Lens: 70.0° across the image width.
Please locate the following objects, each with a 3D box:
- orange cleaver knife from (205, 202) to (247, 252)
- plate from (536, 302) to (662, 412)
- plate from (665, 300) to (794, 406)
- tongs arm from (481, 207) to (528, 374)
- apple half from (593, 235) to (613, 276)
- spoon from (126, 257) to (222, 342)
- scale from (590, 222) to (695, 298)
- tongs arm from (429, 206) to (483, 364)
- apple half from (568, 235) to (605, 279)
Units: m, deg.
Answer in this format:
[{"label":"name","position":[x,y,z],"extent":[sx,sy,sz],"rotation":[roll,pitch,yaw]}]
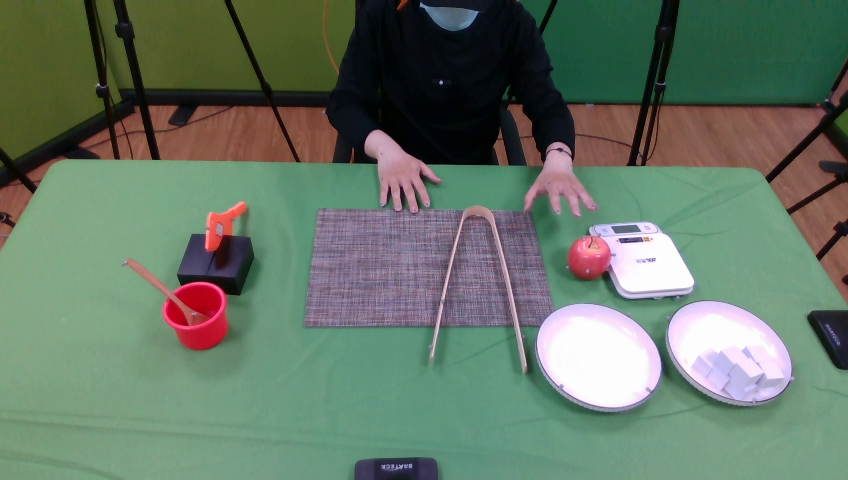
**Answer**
[{"label":"orange cleaver knife","position":[-0.374,-0.029,1.150],"extent":[0.012,0.077,0.211],"rotation":[4,13,0]},{"label":"plate","position":[0.288,0.197,1.016],"extent":[0.209,0.038,0.208],"rotation":[2,46,-2]},{"label":"plate","position":[0.513,0.194,1.034],"extent":[0.208,0.039,0.206],"rotation":[2,46,-2]},{"label":"tongs arm","position":[0.149,0.077,1.123],"extent":[0.028,0.028,0.385],"rotation":[-5,46,-2]},{"label":"apple half","position":[0.340,0.029,1.155],"extent":[0.033,0.082,0.080],"rotation":[-10,47,-8]},{"label":"spoon","position":[-0.407,0.096,0.990],"extent":[0.194,0.021,0.041],"rotation":[50,53,-18]},{"label":"scale","position":[0.424,0.031,1.189],"extent":[0.149,0.032,0.199],"rotation":[-3,46,-7]},{"label":"tongs arm","position":[0.065,0.069,1.124],"extent":[0.051,0.026,0.382],"rotation":[8,45,5]},{"label":"apple half","position":[0.302,0.035,1.148],"extent":[0.053,0.075,0.080],"rotation":[-9,51,-9]}]
